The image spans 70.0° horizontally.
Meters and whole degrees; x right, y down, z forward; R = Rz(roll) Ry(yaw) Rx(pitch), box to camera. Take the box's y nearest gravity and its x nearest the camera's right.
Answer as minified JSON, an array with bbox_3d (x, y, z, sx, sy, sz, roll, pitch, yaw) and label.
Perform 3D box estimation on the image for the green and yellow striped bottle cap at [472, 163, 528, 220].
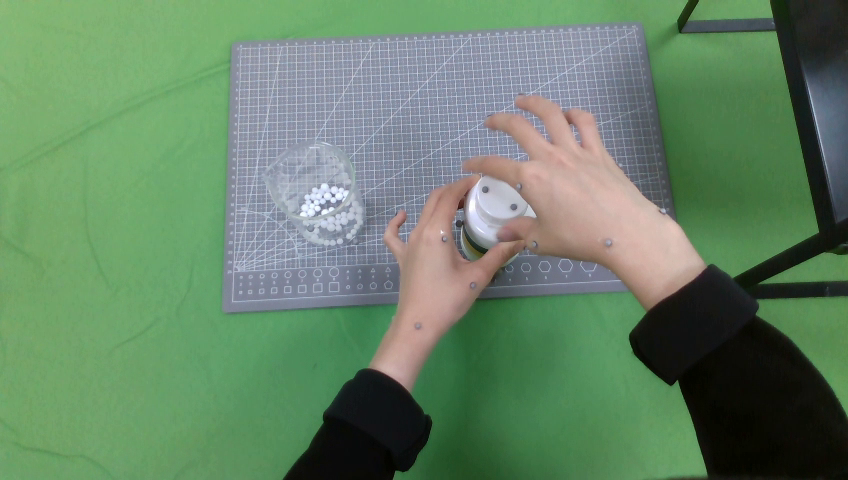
[{"bbox_3d":[0.062,-0.040,0.490,0.045,0.020,0.045,-1,75,3],"label":"green and yellow striped bottle cap"}]

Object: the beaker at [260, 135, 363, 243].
[{"bbox_3d":[-0.099,-0.042,0.563,0.084,0.101,0.073,8,74,4],"label":"beaker"}]

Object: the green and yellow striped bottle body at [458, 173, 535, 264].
[{"bbox_3d":[0.064,-0.023,0.545,0.063,0.120,0.063,0,74,1],"label":"green and yellow striped bottle body"}]
